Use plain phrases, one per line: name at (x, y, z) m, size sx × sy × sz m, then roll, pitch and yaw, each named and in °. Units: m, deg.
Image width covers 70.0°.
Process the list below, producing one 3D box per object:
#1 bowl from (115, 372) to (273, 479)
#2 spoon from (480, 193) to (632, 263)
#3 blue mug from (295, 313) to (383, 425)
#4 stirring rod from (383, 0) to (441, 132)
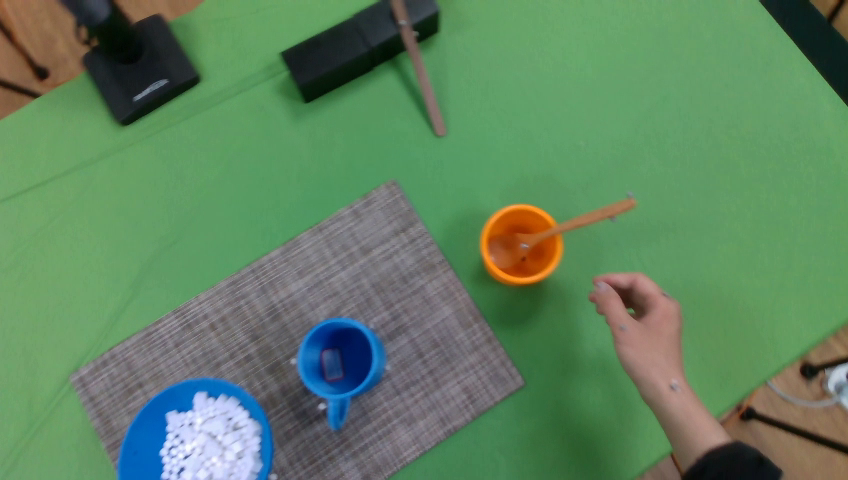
bowl at (-0.219, 0.215, 0.615) m, size 0.151 × 0.077 × 0.150 m, roll -1°, pitch 69°, yaw 3°
spoon at (0.141, -0.014, 0.675) m, size 0.022 × 0.193 × 0.041 m, roll -1°, pitch 74°, yaw -45°
blue mug at (-0.091, 0.142, 0.663) m, size 0.082 × 0.106 × 0.116 m, roll 5°, pitch 79°, yaw 2°
stirring rod at (-0.015, -0.219, 0.756) m, size 0.014 × 0.006 × 0.177 m, roll -23°, pitch 101°, yaw -10°
